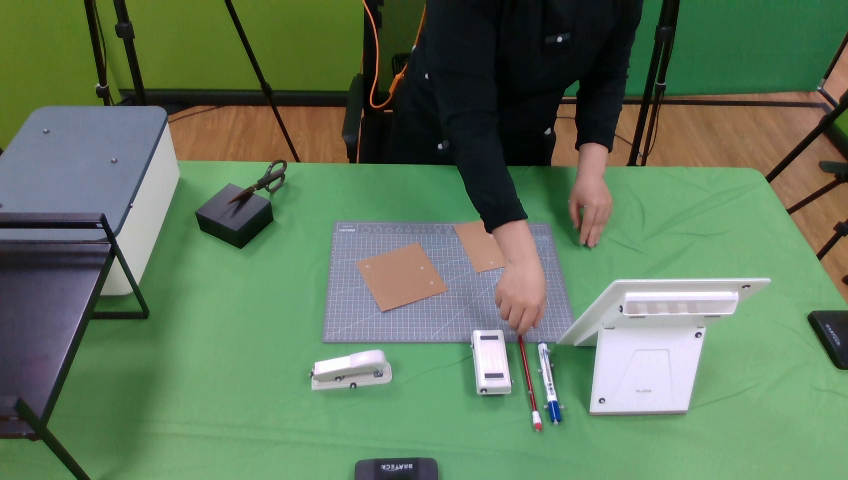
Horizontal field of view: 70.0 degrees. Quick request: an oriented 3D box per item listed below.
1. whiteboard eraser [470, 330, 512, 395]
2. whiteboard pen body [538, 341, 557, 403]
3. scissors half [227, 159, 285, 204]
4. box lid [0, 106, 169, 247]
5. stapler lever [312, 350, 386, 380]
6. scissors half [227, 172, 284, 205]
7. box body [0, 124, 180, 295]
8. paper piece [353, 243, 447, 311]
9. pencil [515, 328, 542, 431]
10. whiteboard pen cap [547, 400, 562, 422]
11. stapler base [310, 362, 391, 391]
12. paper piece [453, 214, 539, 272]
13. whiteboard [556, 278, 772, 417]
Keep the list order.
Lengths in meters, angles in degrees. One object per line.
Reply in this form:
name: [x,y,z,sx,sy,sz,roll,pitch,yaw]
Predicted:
whiteboard eraser: [0.109,0.202,0.998,0.055,0.042,0.112,1,46,-5]
whiteboard pen body: [0.205,0.228,0.997,0.017,0.017,0.140,2,47,-3]
scissors half: [-0.336,-0.117,1.218,0.013,0.040,0.175,26,46,13]
box lid: [-0.624,-0.125,1.067,0.263,0.015,0.369,0,46,-3]
stapler lever: [-0.120,0.198,0.963,0.118,0.040,0.026,-4,44,-8]
scissors half: [-0.340,-0.101,1.230,0.013,0.040,0.175,22,28,17]
box body: [-0.628,-0.075,1.122,0.254,0.161,0.361,1,46,-4]
paper piece: [-0.046,0.066,1.137,0.136,0.009,0.137,-14,47,-22]
pencil: [0.169,0.224,1.002,0.012,0.012,0.192,-1,46,-6]
whiteboard pen cap: [0.205,0.269,0.956,0.018,0.018,0.033,0,47,-5]
stapler base: [-0.119,0.215,0.980,0.131,0.024,0.041,-5,44,-7]
paper piece: [0.142,0.003,1.213,0.135,0.004,0.135,-11,47,-14]
whiteboard: [0.347,0.174,0.903,0.217,0.306,0.143,1,65,-4]
